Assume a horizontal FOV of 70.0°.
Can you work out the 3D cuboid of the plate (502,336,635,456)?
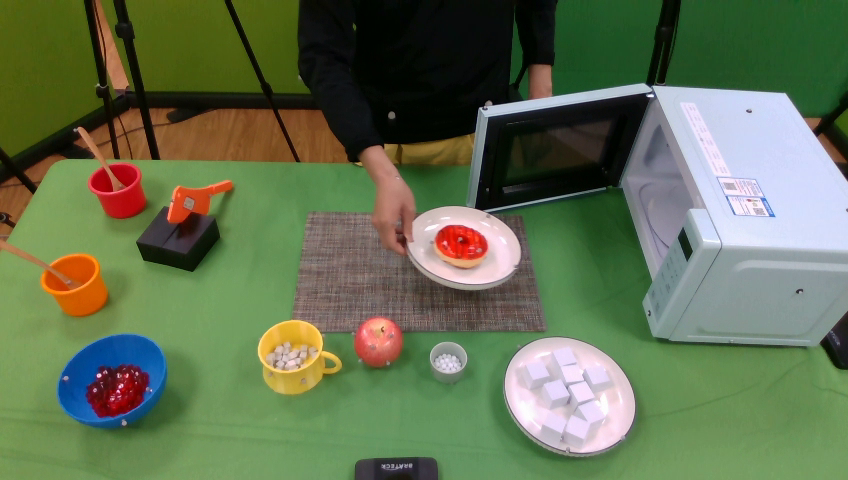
[{"bbox_3d":[0.225,0.248,0.963,0.208,0.039,0.206,2,46,-2],"label":"plate"}]

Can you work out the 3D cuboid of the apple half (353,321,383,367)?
[{"bbox_3d":[-0.097,0.177,0.984,0.033,0.081,0.081,-17,49,-25],"label":"apple half"}]

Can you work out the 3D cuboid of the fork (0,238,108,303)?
[{"bbox_3d":[-0.633,0.048,1.017,0.208,0.018,0.028,40,41,-27],"label":"fork"}]

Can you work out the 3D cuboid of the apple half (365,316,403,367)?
[{"bbox_3d":[-0.063,0.165,1.000,0.053,0.075,0.080,-17,45,-24],"label":"apple half"}]

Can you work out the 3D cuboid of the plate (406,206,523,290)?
[{"bbox_3d":[0.070,0.017,1.075,0.209,0.038,0.208,5,41,-5],"label":"plate"}]

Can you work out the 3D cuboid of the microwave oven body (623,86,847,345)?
[{"bbox_3d":[0.567,-0.053,1.118,0.326,0.261,0.439,2,45,-1],"label":"microwave oven body"}]

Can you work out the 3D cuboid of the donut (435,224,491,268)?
[{"bbox_3d":[0.069,0.009,1.066,0.099,0.048,0.098,7,39,-5],"label":"donut"}]

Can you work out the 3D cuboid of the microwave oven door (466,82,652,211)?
[{"bbox_3d":[0.266,-0.183,1.216,0.356,0.245,0.039,-12,48,-15],"label":"microwave oven door"}]

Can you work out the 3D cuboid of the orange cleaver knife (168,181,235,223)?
[{"bbox_3d":[-0.436,-0.078,1.196,0.012,0.077,0.211,16,15,10],"label":"orange cleaver knife"}]

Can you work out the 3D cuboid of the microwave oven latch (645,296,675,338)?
[{"bbox_3d":[0.412,0.134,1.061,0.030,0.029,0.078,3,45,0],"label":"microwave oven latch"}]

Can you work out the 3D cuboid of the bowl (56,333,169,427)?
[{"bbox_3d":[-0.456,0.223,0.911,0.151,0.077,0.150,3,46,-2],"label":"bowl"}]

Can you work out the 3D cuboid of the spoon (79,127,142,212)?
[{"bbox_3d":[-0.624,-0.140,1.203,0.041,0.021,0.194,-33,100,-26],"label":"spoon"}]

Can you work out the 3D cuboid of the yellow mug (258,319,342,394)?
[{"bbox_3d":[-0.195,0.189,0.972,0.131,0.064,0.099,9,46,4],"label":"yellow mug"}]

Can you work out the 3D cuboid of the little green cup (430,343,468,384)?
[{"bbox_3d":[0.039,0.203,0.993,0.061,0.039,0.061,2,46,-2],"label":"little green cup"}]
